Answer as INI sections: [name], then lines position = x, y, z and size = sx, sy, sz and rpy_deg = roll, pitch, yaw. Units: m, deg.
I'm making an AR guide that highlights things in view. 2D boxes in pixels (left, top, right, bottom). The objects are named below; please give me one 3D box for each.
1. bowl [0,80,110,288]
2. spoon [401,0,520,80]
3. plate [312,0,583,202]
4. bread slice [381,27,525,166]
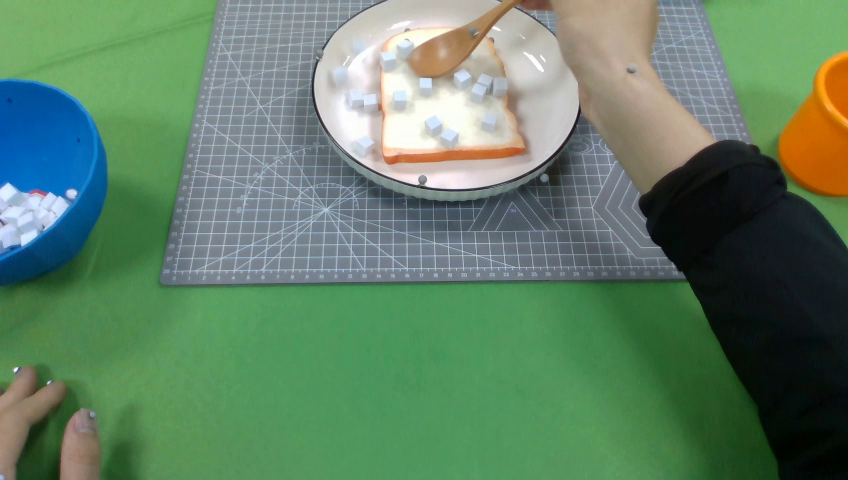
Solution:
[bowl]
position = -0.277, -0.024, 0.404
size = 0.151, 0.077, 0.150
rpy_deg = 1, 60, -1
[spoon]
position = 0.066, -0.176, 0.451
size = 0.193, 0.022, 0.041
rpy_deg = -29, 53, 22
[plate]
position = 0.017, -0.114, 0.482
size = 0.209, 0.038, 0.207
rpy_deg = 1, 61, -1
[bread slice]
position = 0.014, -0.117, 0.487
size = 0.107, 0.018, 0.133
rpy_deg = -7, 63, -5
